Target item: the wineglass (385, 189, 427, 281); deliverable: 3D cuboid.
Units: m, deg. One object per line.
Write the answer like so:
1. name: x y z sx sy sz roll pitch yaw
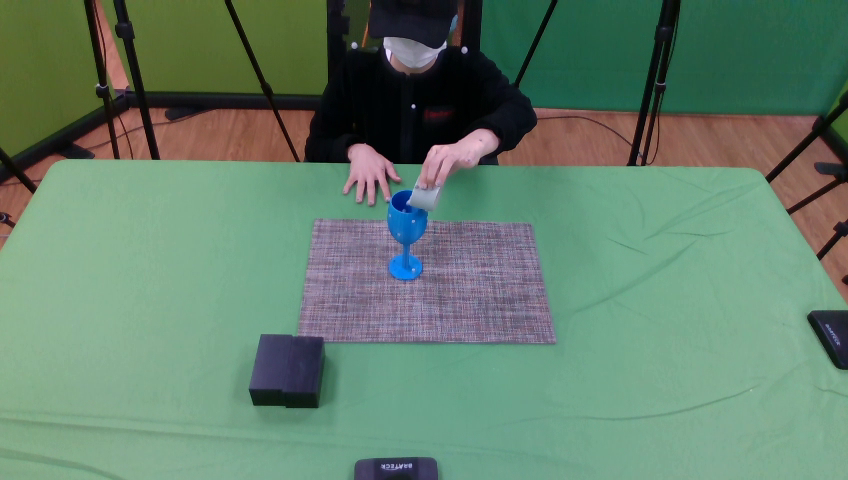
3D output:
1. wineglass: -0.034 -0.006 1.091 0.074 0.173 0.073 2 46 -2

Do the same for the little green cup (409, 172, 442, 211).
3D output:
1. little green cup: 0.004 -0.078 0.997 0.038 0.062 0.061 21 47 6
